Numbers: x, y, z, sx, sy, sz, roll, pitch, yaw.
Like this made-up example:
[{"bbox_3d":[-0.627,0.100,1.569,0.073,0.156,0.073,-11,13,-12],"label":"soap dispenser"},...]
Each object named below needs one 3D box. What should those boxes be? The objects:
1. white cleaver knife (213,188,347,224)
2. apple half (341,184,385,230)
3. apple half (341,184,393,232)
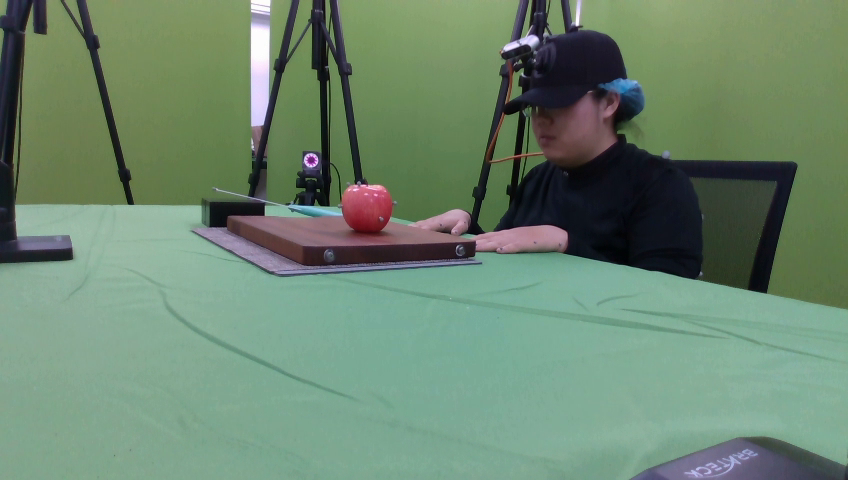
[{"bbox_3d":[-0.280,-0.067,1.227,0.288,0.021,0.065,11,6,-29],"label":"white cleaver knife"},{"bbox_3d":[-0.103,-0.055,0.968,0.082,0.081,0.032,-2,13,-32],"label":"apple half"},{"bbox_3d":[-0.083,-0.048,0.936,0.081,0.074,0.053,1,11,-32],"label":"apple half"}]
